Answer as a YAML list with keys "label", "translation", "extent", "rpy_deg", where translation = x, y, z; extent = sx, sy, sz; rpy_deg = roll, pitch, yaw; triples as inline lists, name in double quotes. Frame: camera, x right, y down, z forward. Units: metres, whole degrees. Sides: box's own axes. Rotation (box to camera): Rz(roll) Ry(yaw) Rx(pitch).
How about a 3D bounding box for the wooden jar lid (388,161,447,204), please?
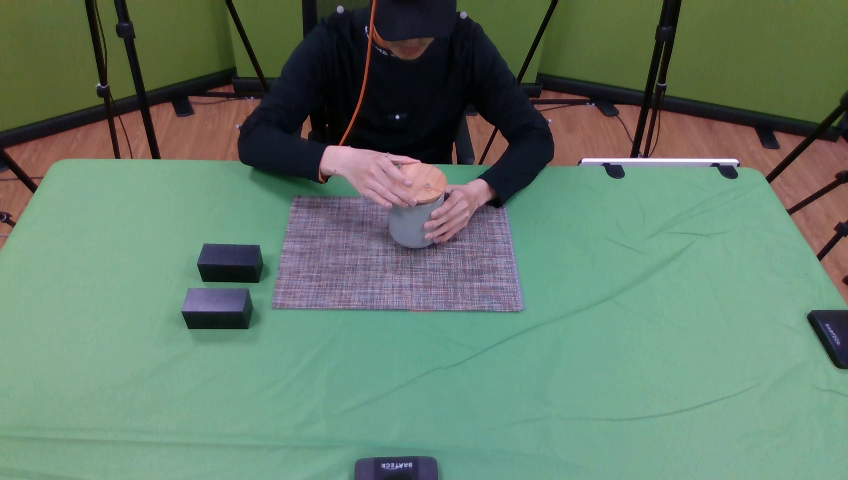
- label: "wooden jar lid"
  translation: [-0.012, -0.104, 1.119]
  extent: [0.108, 0.021, 0.107]
  rpy_deg: [1, 46, -1]

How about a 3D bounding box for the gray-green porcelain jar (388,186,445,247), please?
- label: "gray-green porcelain jar"
  translation: [-0.016, -0.057, 1.172]
  extent: [0.106, 0.127, 0.105]
  rpy_deg: [2, 47, -2]
